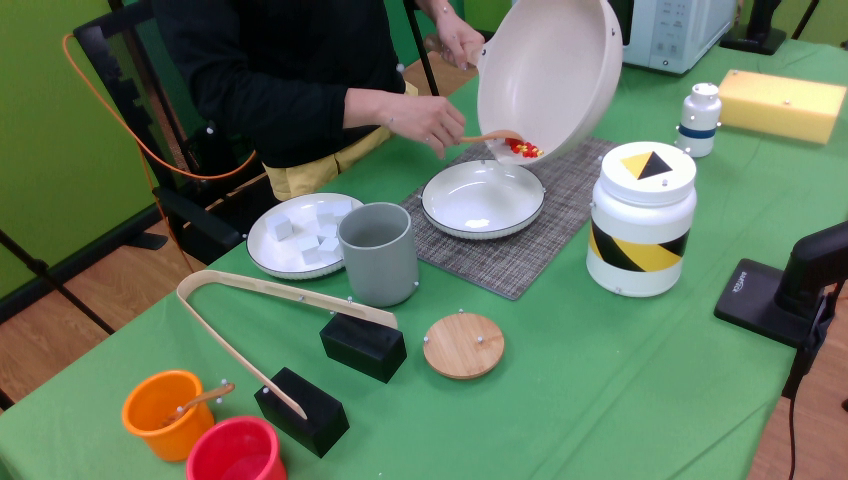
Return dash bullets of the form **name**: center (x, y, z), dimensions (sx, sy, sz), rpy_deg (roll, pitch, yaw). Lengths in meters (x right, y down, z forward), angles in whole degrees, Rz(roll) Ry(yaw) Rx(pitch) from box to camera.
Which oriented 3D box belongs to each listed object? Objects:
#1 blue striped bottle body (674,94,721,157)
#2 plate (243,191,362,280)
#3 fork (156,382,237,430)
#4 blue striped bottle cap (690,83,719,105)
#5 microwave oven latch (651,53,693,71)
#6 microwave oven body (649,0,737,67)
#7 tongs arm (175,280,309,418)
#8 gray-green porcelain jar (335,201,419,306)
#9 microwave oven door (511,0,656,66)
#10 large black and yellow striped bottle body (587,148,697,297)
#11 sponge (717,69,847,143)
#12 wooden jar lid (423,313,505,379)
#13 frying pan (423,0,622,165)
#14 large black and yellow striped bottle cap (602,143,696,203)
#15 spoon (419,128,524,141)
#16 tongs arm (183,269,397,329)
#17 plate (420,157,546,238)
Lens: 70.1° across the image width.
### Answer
- **blue striped bottle body**: center (0.486, -0.213, 1.072), dimensions (0.063, 0.121, 0.063), rpy_deg (-4, 41, 4)
- **plate**: center (-0.188, -0.005, 0.992), dimensions (0.207, 0.039, 0.206), rpy_deg (-4, 40, 4)
- **fork**: center (-0.262, 0.189, 0.690), dimensions (0.018, 0.206, 0.028), rpy_deg (49, 43, -7)
- **blue striped bottle cap**: center (0.482, -0.251, 1.038), dimensions (0.044, 0.021, 0.044), rpy_deg (-5, 40, 5)
- **microwave oven latch**: center (0.532, -0.386, 1.301), dimensions (0.078, 0.029, 0.030), rpy_deg (27, 52, 34)
- **microwave oven body**: center (0.475, -0.602, 1.411), dimensions (0.438, 0.261, 0.327), rpy_deg (23, 50, 32)
- **tongs arm**: center (-0.254, 0.133, 0.800), dimensions (0.028, 0.028, 0.384), rpy_deg (-41, 40, -23)
- **gray-green porcelain jar**: center (-0.064, 0.024, 0.872), dimensions (0.106, 0.127, 0.105), rpy_deg (-4, 41, 4)
- **microwave oven door**: center (0.351, -0.539, 1.349), dimensions (0.353, 0.245, 0.039), rpy_deg (24, 50, 31)
- **large black and yellow striped bottle body**: center (0.298, -0.026, 0.834), dimensions (0.131, 0.185, 0.130), rpy_deg (-4, 41, 4)
- **sponge**: center (0.663, -0.256, 1.142), dimensions (0.205, 0.061, 0.118), rpy_deg (19, 47, 28)
- **wooden jar lid**: center (0.053, 0.142, 0.800), dimensions (0.108, 0.021, 0.108), rpy_deg (-5, 39, 4)
- **frying pan**: center (0.138, -0.303, 1.023), dimensions (0.103, 0.306, 0.483), rpy_deg (6, 22, -40)
- **large black and yellow striped bottle cap**: center (0.289, -0.088, 0.778), dimensions (0.115, 0.019, 0.114), rpy_deg (-5, 39, 4)
- **spoon**: center (0.080, -0.169, 0.980), dimensions (0.195, 0.021, 0.041), rpy_deg (-7, 23, -26)
- **tongs arm**: center (-0.203, 0.085, 0.847), dimensions (0.382, 0.027, 0.051), rpy_deg (11, 44, 35)
- **plate**: center (0.099, -0.067, 1.017), dimensions (0.209, 0.038, 0.208), rpy_deg (-4, 40, 4)
